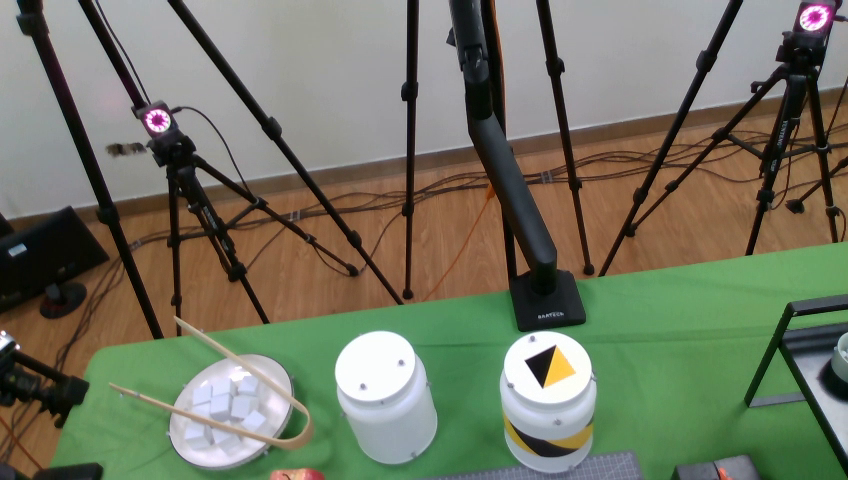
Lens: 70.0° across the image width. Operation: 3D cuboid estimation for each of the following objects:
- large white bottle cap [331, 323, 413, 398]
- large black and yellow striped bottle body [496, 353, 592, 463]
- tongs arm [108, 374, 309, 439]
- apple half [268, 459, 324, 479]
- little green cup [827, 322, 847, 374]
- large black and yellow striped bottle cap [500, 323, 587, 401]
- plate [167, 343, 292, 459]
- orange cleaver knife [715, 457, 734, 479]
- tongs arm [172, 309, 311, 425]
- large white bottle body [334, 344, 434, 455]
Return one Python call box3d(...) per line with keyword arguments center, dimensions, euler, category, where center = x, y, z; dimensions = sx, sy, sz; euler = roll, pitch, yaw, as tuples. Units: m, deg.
box3d(center=(-0.072, 0.167, 0.847), dimensions=(0.115, 0.018, 0.113), euler=(-6, 46, 6), category="large white bottle cap")
box3d(center=(0.172, 0.221, 0.868), dimensions=(0.130, 0.186, 0.129), euler=(-6, 45, 6), category="large black and yellow striped bottle body")
box3d(center=(-0.362, 0.260, 0.988), dimensions=(0.382, 0.027, 0.050), euler=(12, 47, 23), category="tongs arm")
box3d(center=(-0.188, 0.358, 0.886), dimensions=(0.081, 0.075, 0.053), euler=(-3, 51, 3), category="apple half")
box3d(center=(0.525, 0.134, 0.736), dimensions=(0.061, 0.039, 0.061), euler=(-6, 47, 6), category="little green cup")
box3d(center=(0.160, 0.161, 0.810), dimensions=(0.115, 0.019, 0.114), euler=(-5, 46, 5), category="large black and yellow striped bottle cap")
box3d(center=(-0.320, 0.270, 1.016), dimensions=(0.207, 0.039, 0.205), euler=(-5, 47, 6), category="plate")
box3d(center=(0.399, 0.380, 0.750), dimensions=(0.012, 0.078, 0.210), euler=(-14, 73, 11), category="orange cleaver knife")
box3d(center=(-0.321, 0.205, 1.035), dimensions=(0.384, 0.028, 0.028), euler=(24, 50, 32), category="tongs arm")
box3d(center=(-0.060, 0.225, 0.909), dimensions=(0.130, 0.186, 0.129), euler=(-5, 46, 6), category="large white bottle body")
